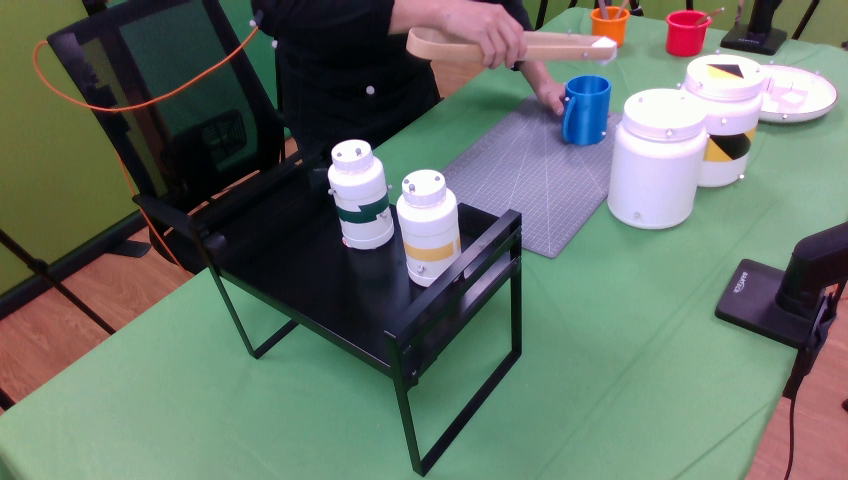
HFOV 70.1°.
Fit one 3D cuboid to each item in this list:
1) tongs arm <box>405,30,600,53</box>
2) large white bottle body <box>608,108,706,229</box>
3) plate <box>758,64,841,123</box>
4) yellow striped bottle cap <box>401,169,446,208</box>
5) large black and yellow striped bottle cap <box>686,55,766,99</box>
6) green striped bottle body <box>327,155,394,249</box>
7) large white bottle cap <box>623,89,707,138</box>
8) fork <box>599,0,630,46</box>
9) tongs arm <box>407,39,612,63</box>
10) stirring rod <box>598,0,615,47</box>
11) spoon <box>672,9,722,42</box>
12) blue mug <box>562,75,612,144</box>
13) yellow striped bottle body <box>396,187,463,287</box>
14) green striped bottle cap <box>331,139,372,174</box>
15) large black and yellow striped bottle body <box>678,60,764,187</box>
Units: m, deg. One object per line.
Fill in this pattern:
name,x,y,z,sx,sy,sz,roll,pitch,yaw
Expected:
tongs arm,0.145,-0.322,1.001,0.387,0.026,0.050,-4,45,-23
large white bottle body,0.361,-0.124,0.941,0.130,0.185,0.130,-5,41,4
plate,0.694,-0.283,1.189,0.207,0.039,0.206,-4,40,4
yellow striped bottle cap,0.000,-0.052,0.605,0.044,0.019,0.044,-4,43,4
large black and yellow striped bottle cap,0.474,-0.258,0.952,0.115,0.019,0.114,-5,41,5
green striped bottle body,-0.073,-0.053,0.699,0.063,0.120,0.063,-5,41,4
large white bottle cap,0.352,-0.187,0.886,0.115,0.018,0.114,-4,41,4
fork,0.480,-0.556,1.453,0.028,0.019,0.207,41,103,40
tongs arm,0.155,-0.306,0.986,0.390,0.028,0.028,-8,50,-26
stirring rod,0.437,-0.551,1.462,0.014,0.006,0.175,-11,83,1
spoon,0.606,-0.476,1.345,0.042,0.021,0.193,-6,-3,-2
blue mug,0.298,-0.239,1.143,0.081,0.106,0.117,30,54,35
yellow striped bottle body,0.006,-0.013,0.638,0.063,0.121,0.062,-5,41,4
green striped bottle cap,-0.080,-0.092,0.665,0.044,0.020,0.044,-3,41,3
large black and yellow striped bottle body,0.482,-0.196,1.008,0.131,0.185,0.130,-4,41,4
